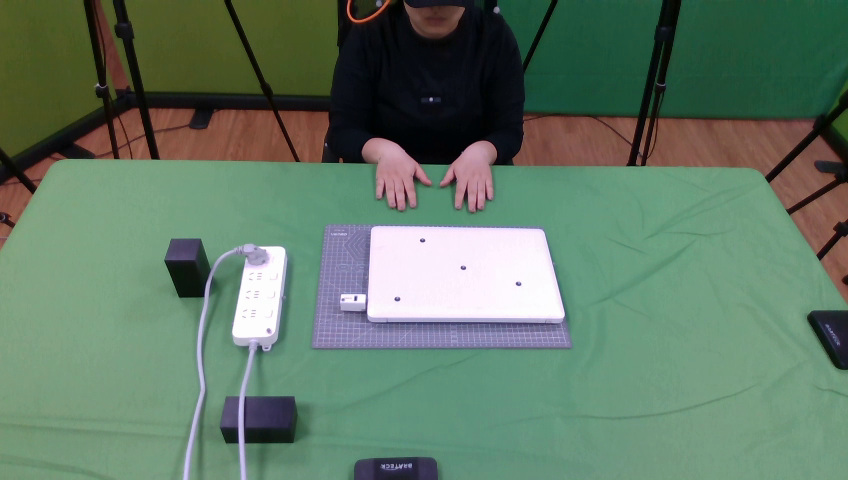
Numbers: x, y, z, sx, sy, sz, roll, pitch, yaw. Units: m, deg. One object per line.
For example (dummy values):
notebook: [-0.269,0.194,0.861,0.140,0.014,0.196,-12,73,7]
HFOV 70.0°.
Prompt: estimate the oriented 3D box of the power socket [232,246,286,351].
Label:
power socket: [-0.290,0.095,1.077,0.072,0.033,0.225,-2,46,-4]

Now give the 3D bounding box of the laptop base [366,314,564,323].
laptop base: [0.071,0.064,1.144,0.355,0.023,0.234,1,43,-4]

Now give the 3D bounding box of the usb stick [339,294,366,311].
usb stick: [-0.119,0.110,1.068,0.059,0.027,0.021,4,47,-5]

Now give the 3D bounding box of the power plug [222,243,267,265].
power plug: [-0.325,0.028,1.112,0.072,0.053,0.035,5,45,5]

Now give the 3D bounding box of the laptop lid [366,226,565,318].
laptop lid: [0.071,0.054,1.137,0.357,0.013,0.240,2,44,-3]
